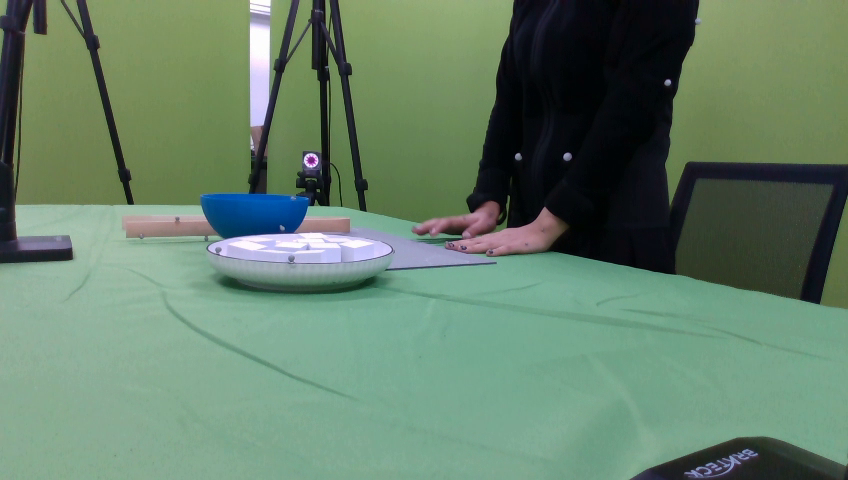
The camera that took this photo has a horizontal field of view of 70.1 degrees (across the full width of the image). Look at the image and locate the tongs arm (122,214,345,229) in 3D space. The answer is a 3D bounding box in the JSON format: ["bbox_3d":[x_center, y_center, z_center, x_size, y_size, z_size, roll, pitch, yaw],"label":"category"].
[{"bbox_3d":[-0.336,-0.032,1.103,0.389,0.027,0.028,0,1,-19],"label":"tongs arm"}]

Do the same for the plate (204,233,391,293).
[{"bbox_3d":[-0.143,0.025,0.697,0.208,0.039,0.207,3,9,0],"label":"plate"}]

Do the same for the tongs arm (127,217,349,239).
[{"bbox_3d":[-0.295,-0.023,1.027,0.387,0.026,0.050,-2,5,-34],"label":"tongs arm"}]

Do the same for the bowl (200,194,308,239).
[{"bbox_3d":[-0.245,-0.025,0.879,0.151,0.077,0.151,2,7,0],"label":"bowl"}]
